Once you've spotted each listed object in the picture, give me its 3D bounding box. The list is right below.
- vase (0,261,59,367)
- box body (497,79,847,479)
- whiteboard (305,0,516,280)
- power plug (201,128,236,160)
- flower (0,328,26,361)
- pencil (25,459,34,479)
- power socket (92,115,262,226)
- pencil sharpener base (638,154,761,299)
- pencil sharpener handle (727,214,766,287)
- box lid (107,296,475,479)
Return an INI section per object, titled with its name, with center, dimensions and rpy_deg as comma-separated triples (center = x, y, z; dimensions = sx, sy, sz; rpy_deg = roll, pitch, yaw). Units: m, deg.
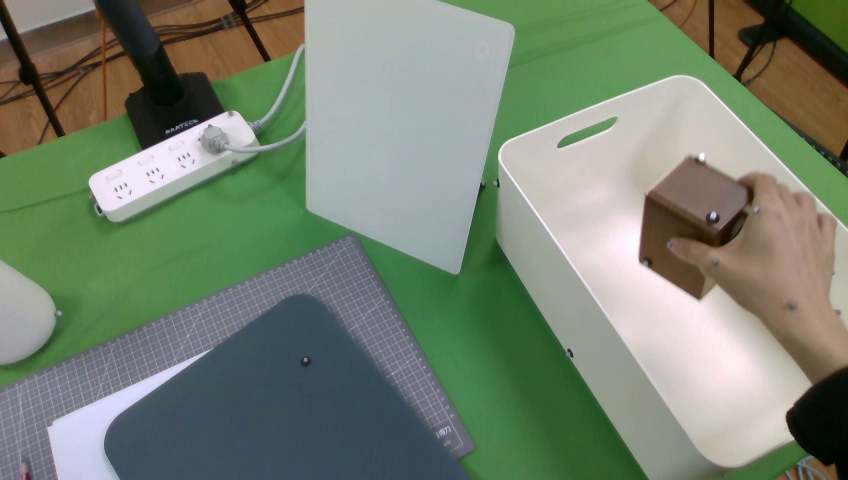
[vase]
center = -0.459, 0.053, 0.605
dimensions = 0.098, 0.202, 0.097
rpy_deg = -1, 58, 2
[box body]
center = 0.260, 0.037, 0.627
dimensions = 0.254, 0.162, 0.360
rpy_deg = -23, 61, -13
[whiteboard]
center = -0.005, -0.142, 0.694
dimensions = 0.216, 0.308, 0.143
rpy_deg = 23, 42, 15
[power plug]
center = -0.261, -0.111, 0.775
dimensions = 0.035, 0.053, 0.072
rpy_deg = -21, 62, -12
[flower]
center = -0.464, -0.006, 0.545
dimensions = 0.038, 0.365, 0.043
rpy_deg = -36, 46, -27
[pencil]
center = -0.364, 0.295, 0.562
dimensions = 0.012, 0.012, 0.192
rpy_deg = -19, 58, -10
[power socket]
center = -0.319, -0.094, 0.792
dimensions = 0.227, 0.033, 0.071
rpy_deg = -30, 63, -17
[pencil sharpener base]
center = 0.240, -0.008, 0.534
dimensions = 0.061, 0.108, 0.076
rpy_deg = -39, 54, -15
[pencil sharpener handle]
center = 0.270, 0.011, 0.496
dimensions = 0.036, 0.068, 0.030
rpy_deg = -40, 54, -15
[box lid]
center = -0.116, 0.242, 0.592
dimensions = 0.263, 0.015, 0.368
rpy_deg = -37, 65, -20
